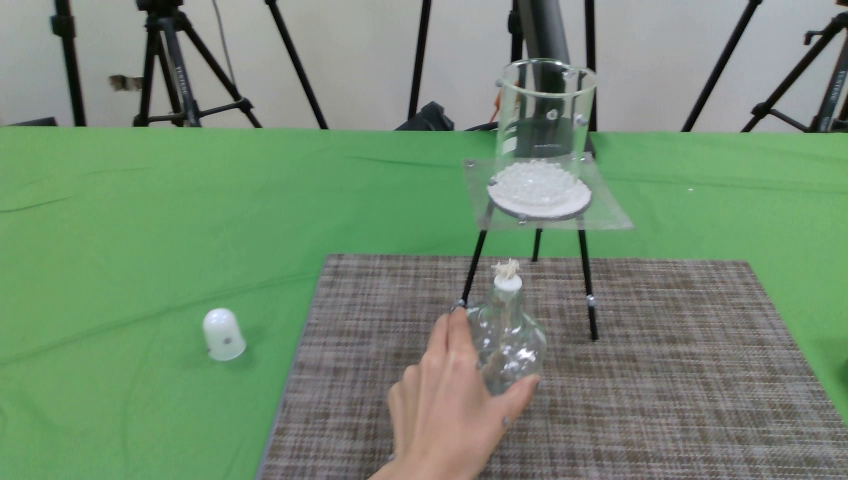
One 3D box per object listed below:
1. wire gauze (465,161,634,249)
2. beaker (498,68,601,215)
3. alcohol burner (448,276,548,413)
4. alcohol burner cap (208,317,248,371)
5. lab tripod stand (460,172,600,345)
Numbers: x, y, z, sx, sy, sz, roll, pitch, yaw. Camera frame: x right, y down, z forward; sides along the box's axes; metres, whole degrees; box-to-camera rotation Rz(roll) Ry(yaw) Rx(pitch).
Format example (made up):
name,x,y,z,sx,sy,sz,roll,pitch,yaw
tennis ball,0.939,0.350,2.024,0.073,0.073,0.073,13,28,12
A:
name,x,y,z,sx,sy,sz,roll,pitch,yaw
wire gauze,0.101,-0.034,0.515,0.125,0.011,0.120,1,37,-4
beaker,0.099,-0.079,0.493,0.073,0.101,0.084,24,42,29
alcohol burner,0.058,0.074,0.461,0.078,0.120,0.077,3,36,-2
alcohol burner cap,-0.179,0.091,0.547,0.034,0.048,0.033,0,36,1
lab tripod stand,0.107,0.016,0.556,0.148,0.132,0.147,1,35,0
